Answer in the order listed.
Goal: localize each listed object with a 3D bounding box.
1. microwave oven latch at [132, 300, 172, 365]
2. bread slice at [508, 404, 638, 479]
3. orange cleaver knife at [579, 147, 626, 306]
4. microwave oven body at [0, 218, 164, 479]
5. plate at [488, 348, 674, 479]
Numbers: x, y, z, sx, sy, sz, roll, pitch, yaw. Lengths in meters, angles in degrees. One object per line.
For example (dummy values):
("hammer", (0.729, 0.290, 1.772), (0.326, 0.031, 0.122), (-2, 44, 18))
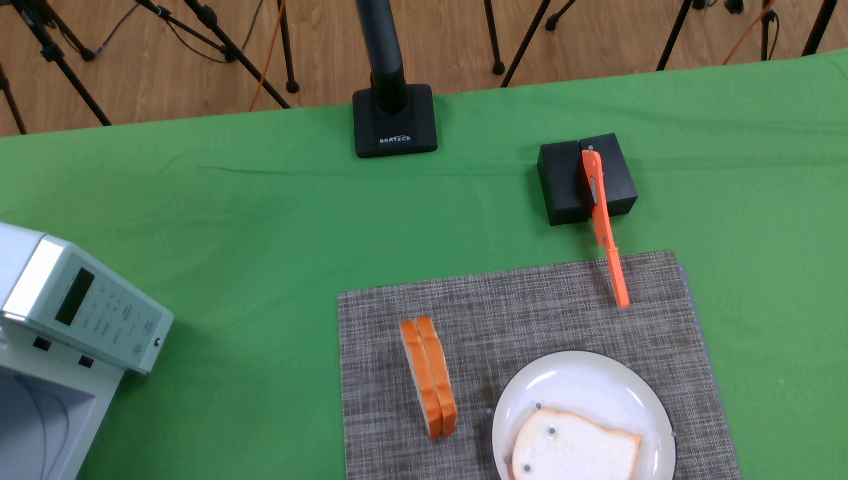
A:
("microwave oven latch", (-0.342, 0.113, 0.752), (0.030, 0.030, 0.078), (15, 69, 8))
("bread slice", (0.165, 0.248, 0.687), (0.134, 0.018, 0.106), (15, 66, 11))
("orange cleaver knife", (0.228, -0.021, 0.781), (0.012, 0.077, 0.211), (-11, 88, 0))
("microwave oven body", (-0.537, 0.197, 0.620), (0.325, 0.262, 0.439), (14, 69, 8))
("plate", (0.177, 0.231, 0.697), (0.207, 0.039, 0.206), (-1, 67, 2))
